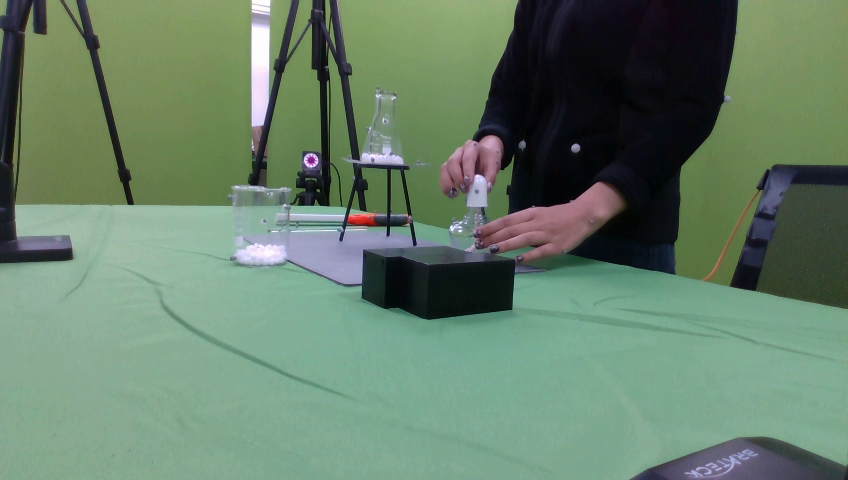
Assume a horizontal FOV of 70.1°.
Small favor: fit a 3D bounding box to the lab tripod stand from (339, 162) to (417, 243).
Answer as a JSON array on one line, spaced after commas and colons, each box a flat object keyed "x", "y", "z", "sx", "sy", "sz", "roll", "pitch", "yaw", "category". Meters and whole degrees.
[{"x": -0.067, "y": -0.065, "z": 1.027, "sx": 0.148, "sy": 0.131, "sz": 0.148, "roll": 4, "pitch": 7, "yaw": 0, "category": "lab tripod stand"}]

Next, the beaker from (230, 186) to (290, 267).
[{"x": -0.209, "y": -0.019, "z": 0.778, "sx": 0.074, "sy": 0.100, "sz": 0.084, "roll": 3, "pitch": 6, "yaw": 4, "category": "beaker"}]

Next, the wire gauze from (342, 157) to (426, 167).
[{"x": -0.065, "y": -0.130, "z": 1.016, "sx": 0.122, "sy": 0.011, "sz": 0.124, "roll": 2, "pitch": 5, "yaw": -27, "category": "wire gauze"}]

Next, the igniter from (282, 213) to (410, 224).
[{"x": -0.159, "y": -0.046, "z": 1.287, "sx": 0.278, "sy": 0.025, "sz": 0.057, "roll": -1, "pitch": -3, "yaw": -21, "category": "igniter"}]

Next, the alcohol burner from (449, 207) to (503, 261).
[{"x": 0.076, "y": -0.029, "z": 0.867, "sx": 0.078, "sy": 0.119, "sz": 0.078, "roll": 4, "pitch": 7, "yaw": 0, "category": "alcohol burner"}]

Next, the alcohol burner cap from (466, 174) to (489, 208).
[{"x": 0.076, "y": -0.070, "z": 0.862, "sx": 0.034, "sy": 0.048, "sz": 0.034, "roll": 0, "pitch": 9, "yaw": 0, "category": "alcohol burner cap"}]

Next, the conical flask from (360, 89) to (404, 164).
[{"x": -0.067, "y": -0.189, "z": 1.010, "sx": 0.075, "sy": 0.122, "sz": 0.075, "roll": 4, "pitch": 6, "yaw": 0, "category": "conical flask"}]

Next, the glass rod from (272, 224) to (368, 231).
[{"x": -0.197, "y": -0.024, "z": 1.169, "sx": 0.201, "sy": 0.008, "sz": 0.008, "roll": -3, "pitch": 9, "yaw": -33, "category": "glass rod"}]
